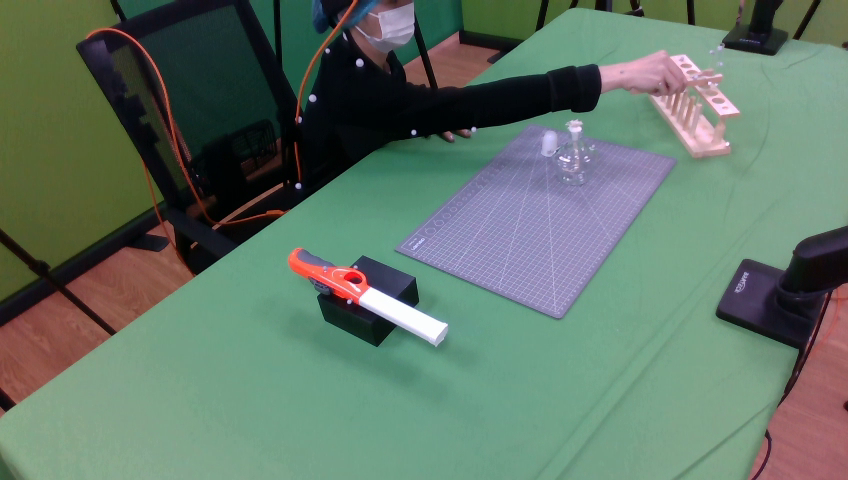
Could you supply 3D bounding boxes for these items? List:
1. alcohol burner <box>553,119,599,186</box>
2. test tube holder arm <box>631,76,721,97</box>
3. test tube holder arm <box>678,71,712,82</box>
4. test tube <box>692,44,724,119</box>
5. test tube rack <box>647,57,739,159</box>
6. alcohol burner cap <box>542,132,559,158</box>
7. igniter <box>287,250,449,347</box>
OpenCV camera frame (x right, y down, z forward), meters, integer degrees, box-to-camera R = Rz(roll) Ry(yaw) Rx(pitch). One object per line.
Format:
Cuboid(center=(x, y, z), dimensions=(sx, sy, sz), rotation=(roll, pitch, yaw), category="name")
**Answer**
Cuboid(center=(0.261, -0.153, 1.042), dimensions=(0.078, 0.119, 0.077), rotation=(-6, 40, 6), category="alcohol burner")
Cuboid(center=(0.449, -0.275, 1.076), dimensions=(0.179, 0.015, 0.013), rotation=(-12, 39, -14), category="test tube holder arm")
Cuboid(center=(0.488, -0.289, 1.093), dimensions=(0.088, 0.015, 0.010), rotation=(-22, 44, -25), category="test tube holder arm")
Cuboid(center=(0.518, -0.286, 1.107), dimensions=(0.017, 0.151, 0.017), rotation=(-1, 43, 1), category="test tube")
Cuboid(center=(0.504, -0.257, 1.153), dimensions=(0.067, 0.085, 0.241), rotation=(-8, 40, 2), category="test tube rack")
Cuboid(center=(0.237, -0.180, 1.134), dimensions=(0.034, 0.048, 0.033), rotation=(-5, 41, 5), category="alcohol burner cap")
Cuboid(center=(-0.087, 0.073, 0.825), dimensions=(0.274, 0.025, 0.057), rotation=(23, 48, 27), category="igniter")
